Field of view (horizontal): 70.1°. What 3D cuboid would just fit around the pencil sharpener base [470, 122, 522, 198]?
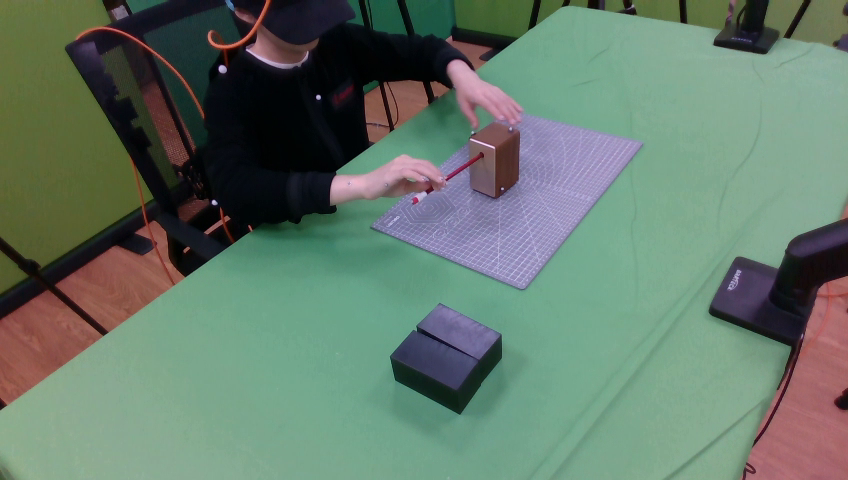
[{"bbox_3d":[0.127,-0.139,1.050,0.061,0.107,0.077,26,48,34],"label":"pencil sharpener base"}]

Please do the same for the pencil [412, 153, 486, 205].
[{"bbox_3d":[0.050,-0.105,0.973,0.012,0.012,0.195,28,50,34],"label":"pencil"}]

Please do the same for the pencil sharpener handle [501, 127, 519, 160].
[{"bbox_3d":[0.158,-0.176,1.071,0.035,0.068,0.031,31,51,29],"label":"pencil sharpener handle"}]
